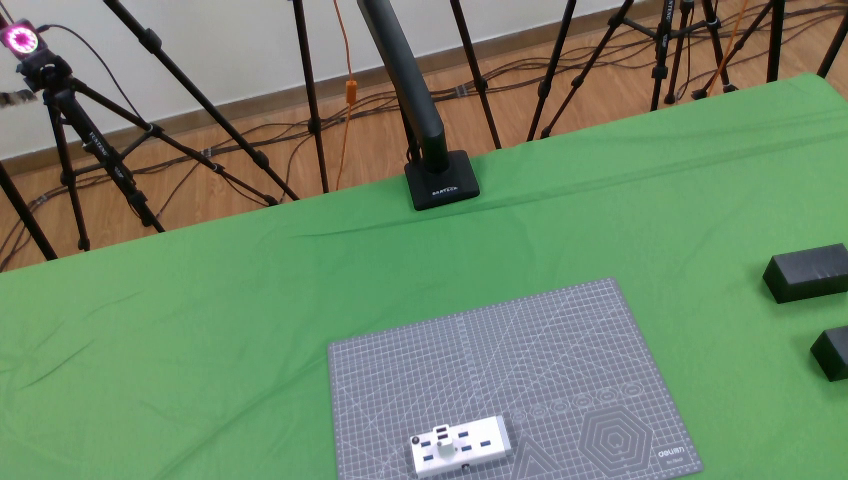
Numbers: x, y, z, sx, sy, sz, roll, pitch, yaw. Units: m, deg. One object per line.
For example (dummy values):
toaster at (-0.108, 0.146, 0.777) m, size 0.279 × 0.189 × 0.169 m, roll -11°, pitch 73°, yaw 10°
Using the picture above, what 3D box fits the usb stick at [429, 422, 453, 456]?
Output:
usb stick at (0.023, 0.253, 0.761) m, size 0.021 × 0.060 × 0.027 m, roll -16°, pitch 49°, yaw -2°

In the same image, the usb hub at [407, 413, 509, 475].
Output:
usb hub at (0.043, 0.264, 0.786) m, size 0.125 × 0.025 × 0.049 m, roll -13°, pitch 51°, yaw -1°
